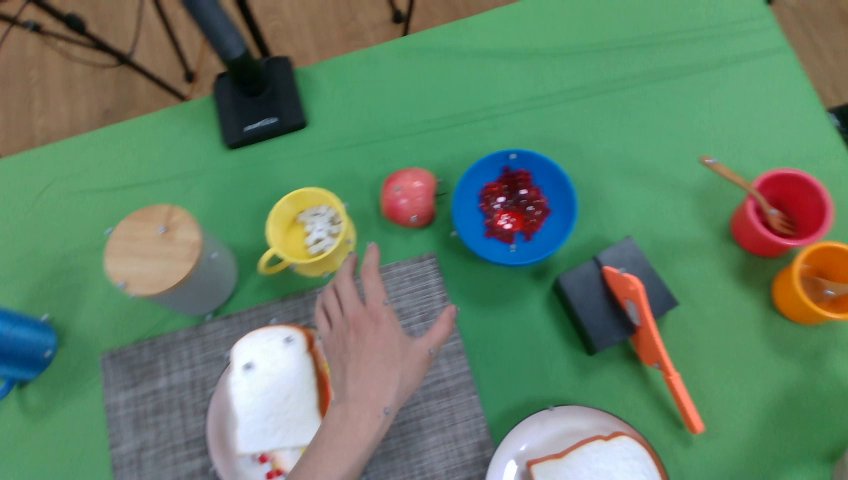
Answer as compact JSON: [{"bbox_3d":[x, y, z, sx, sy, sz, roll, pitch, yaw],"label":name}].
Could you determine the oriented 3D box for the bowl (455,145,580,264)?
[{"bbox_3d":[0.115,-0.034,0.760,0.151,0.077,0.150,-1,72,4],"label":"bowl"}]

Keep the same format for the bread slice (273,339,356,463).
[{"bbox_3d":[-0.142,0.195,0.725,0.107,0.018,0.133,-34,75,-6],"label":"bread slice"}]

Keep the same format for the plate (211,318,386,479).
[{"bbox_3d":[-0.147,0.198,0.724,0.207,0.039,0.206,-1,73,4],"label":"plate"}]

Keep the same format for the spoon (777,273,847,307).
[{"bbox_3d":[0.497,0.052,0.666,0.022,0.193,0.041,23,71,-35],"label":"spoon"}]

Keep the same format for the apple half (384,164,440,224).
[{"bbox_3d":[-0.017,-0.066,0.794,0.074,0.054,0.080,4,73,8],"label":"apple half"}]

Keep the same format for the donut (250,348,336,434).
[{"bbox_3d":[-0.152,0.174,0.702,0.099,0.048,0.098,-1,71,3],"label":"donut"}]

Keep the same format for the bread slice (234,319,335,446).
[{"bbox_3d":[-0.154,0.150,0.645,0.105,0.019,0.131,-11,82,10],"label":"bread slice"}]

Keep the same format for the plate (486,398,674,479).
[{"bbox_3d":[0.172,0.285,0.676,0.209,0.038,0.208,-1,72,4],"label":"plate"}]

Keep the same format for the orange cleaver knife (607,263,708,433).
[{"bbox_3d":[0.265,0.122,0.697,0.012,0.077,0.211,-26,94,-11],"label":"orange cleaver knife"}]

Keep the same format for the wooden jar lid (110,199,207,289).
[{"bbox_3d":[-0.298,0.006,0.687,0.108,0.021,0.107,-1,70,3],"label":"wooden jar lid"}]

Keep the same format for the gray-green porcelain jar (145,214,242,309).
[{"bbox_3d":[-0.292,0.025,0.747,0.106,0.127,0.105,-1,71,4],"label":"gray-green porcelain jar"}]

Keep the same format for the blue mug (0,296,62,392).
[{"bbox_3d":[-0.521,0.130,0.742,0.082,0.106,0.116,3,73,5],"label":"blue mug"}]

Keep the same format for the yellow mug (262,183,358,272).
[{"bbox_3d":[-0.153,-0.006,0.778,0.131,0.064,0.099,-38,74,-7],"label":"yellow mug"}]

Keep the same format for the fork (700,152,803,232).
[{"bbox_3d":[0.387,-0.055,0.708,0.209,0.018,0.028,26,70,-31],"label":"fork"}]
